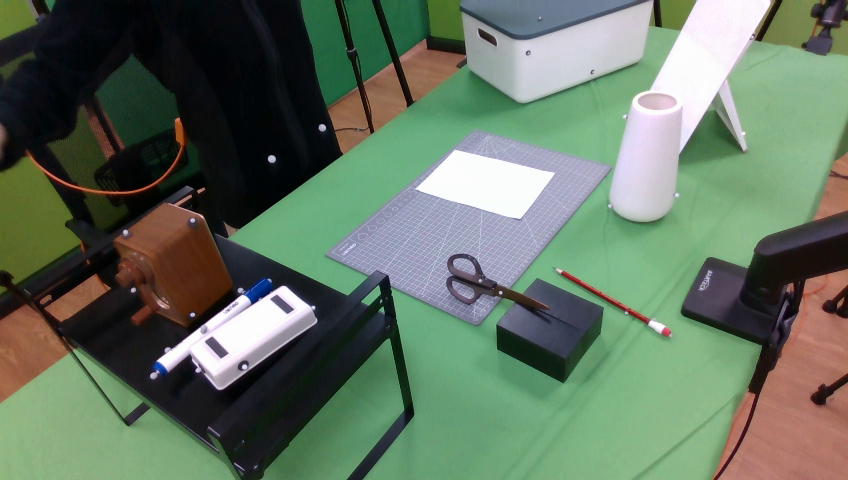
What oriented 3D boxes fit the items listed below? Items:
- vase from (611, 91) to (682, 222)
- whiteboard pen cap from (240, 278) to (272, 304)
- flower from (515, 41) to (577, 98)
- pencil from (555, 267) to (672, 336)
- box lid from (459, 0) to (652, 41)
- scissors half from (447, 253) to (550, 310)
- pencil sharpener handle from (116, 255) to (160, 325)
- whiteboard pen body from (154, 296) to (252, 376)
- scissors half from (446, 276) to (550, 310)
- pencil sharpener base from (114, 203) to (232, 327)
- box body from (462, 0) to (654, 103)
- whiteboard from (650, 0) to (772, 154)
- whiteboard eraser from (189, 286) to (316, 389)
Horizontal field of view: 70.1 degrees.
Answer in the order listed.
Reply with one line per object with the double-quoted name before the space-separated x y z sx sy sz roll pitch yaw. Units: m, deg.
"vase" 0.348 -0.125 0.935 0.098 0.201 0.097 -3 40 3
"whiteboard pen cap" -0.183 0.057 0.658 0.018 0.018 0.033 19 44 28
"flower" 0.298 -0.410 1.413 0.044 0.038 0.362 -16 22 41
"pencil" 0.260 0.082 0.850 0.012 0.012 0.192 -33 46 -27
"box lid" 0.291 -0.524 1.327 0.373 0.015 0.261 -23 43 -18
"scissors half" 0.098 0.058 0.821 0.173 0.040 0.013 27 33 37
"pencil sharpener handle" -0.286 0.050 0.594 0.035 0.068 0.031 7 41 35
"whiteboard pen body" -0.215 0.088 0.619 0.017 0.017 0.141 19 42 28
"scissors half" 0.098 0.077 0.827 0.174 0.040 0.013 6 14 44
"pencil sharpener base" -0.262 0.029 0.635 0.061 0.107 0.077 18 47 26
"box body" 0.298 -0.468 1.374 0.365 0.161 0.252 -23 42 -18
"whiteboard" 0.543 -0.298 1.076 0.144 0.305 0.216 12 40 -7
"whiteboard eraser" -0.166 0.096 0.593 0.113 0.042 0.055 -36 46 -29
